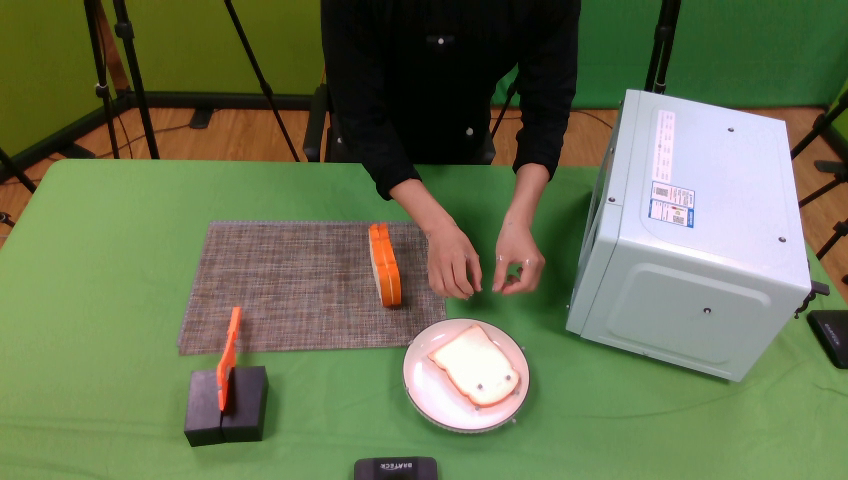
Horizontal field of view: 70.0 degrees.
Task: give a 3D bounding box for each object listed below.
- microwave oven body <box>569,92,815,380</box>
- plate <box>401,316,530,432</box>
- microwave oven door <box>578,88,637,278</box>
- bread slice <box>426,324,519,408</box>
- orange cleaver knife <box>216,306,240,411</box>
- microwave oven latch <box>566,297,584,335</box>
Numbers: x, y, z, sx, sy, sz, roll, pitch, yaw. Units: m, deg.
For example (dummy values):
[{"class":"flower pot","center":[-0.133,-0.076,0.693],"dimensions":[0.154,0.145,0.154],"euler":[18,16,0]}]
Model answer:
[{"class":"microwave oven body","center":[0.468,-0.021,1.082],"dimensions":[0.325,0.261,0.440],"euler":[15,46,11]},{"class":"plate","center":[0.066,0.217,0.982],"dimensions":[0.208,0.039,0.206],"euler":[2,46,-2]},{"class":"microwave oven door","center":[0.346,-0.091,1.132],"dimensions":[0.039,0.245,0.354],"euler":[14,47,11]},{"class":"bread slice","center":[0.087,0.209,0.989],"dimensions":[0.107,0.018,0.133],"euler":[-32,57,-26]},{"class":"orange cleaver knife","center":[-0.307,0.180,0.957],"dimensions":[0.012,0.077,0.210],"euler":[-2,25,-8]},{"class":"microwave oven latch","center":[0.268,0.126,1.059],"dimensions":[0.030,0.029,0.079],"euler":[16,46,12]}]
